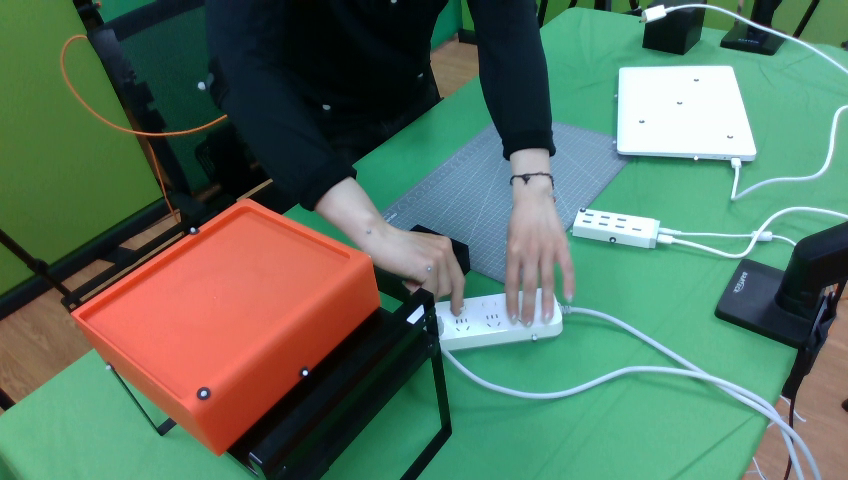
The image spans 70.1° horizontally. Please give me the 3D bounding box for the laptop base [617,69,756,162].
[{"bbox_3d":[0.507,-0.256,1.204,0.235,0.023,0.353,3,41,15],"label":"laptop base"}]

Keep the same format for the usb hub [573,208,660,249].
[{"bbox_3d":[0.301,-0.019,0.949,0.124,0.025,0.049,11,42,20],"label":"usb hub"}]

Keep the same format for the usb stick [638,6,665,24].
[{"bbox_3d":[0.503,-0.499,1.347,0.059,0.027,0.021,-21,5,-2],"label":"usb stick"}]

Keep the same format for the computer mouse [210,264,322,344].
[{"bbox_3d":[-0.164,0.062,0.625,0.116,0.041,0.063,22,44,27],"label":"computer mouse"}]

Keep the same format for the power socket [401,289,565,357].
[{"bbox_3d":[0.080,0.112,0.822,0.227,0.033,0.072,-7,41,-1],"label":"power socket"}]

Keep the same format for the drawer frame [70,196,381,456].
[{"bbox_3d":[-0.186,0.068,0.597,0.200,0.083,0.214,23,49,30],"label":"drawer frame"}]

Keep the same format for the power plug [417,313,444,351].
[{"bbox_3d":[0.007,0.127,0.786,0.035,0.053,0.072,-1,43,8],"label":"power plug"}]

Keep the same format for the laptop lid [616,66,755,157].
[{"bbox_3d":[0.503,-0.265,1.196,0.241,0.013,0.356,5,41,16],"label":"laptop lid"}]

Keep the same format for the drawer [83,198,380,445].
[{"bbox_3d":[-0.185,0.066,0.601,0.193,0.073,0.212,24,50,31],"label":"drawer"}]
